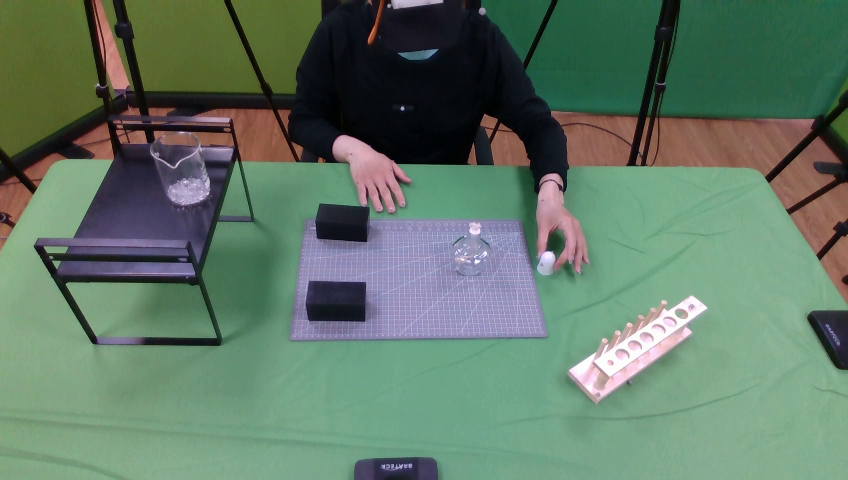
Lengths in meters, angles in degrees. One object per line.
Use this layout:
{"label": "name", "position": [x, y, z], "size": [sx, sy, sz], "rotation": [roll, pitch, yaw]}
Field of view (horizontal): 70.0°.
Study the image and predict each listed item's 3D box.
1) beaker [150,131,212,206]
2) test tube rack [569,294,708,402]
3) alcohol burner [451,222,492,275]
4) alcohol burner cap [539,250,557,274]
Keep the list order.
{"label": "beaker", "position": [-0.385, -0.110, 0.969], "size": [0.074, 0.101, 0.083], "rotation": [-6, 48, -9]}
{"label": "test tube rack", "position": [0.360, 0.167, 1.014], "size": [0.242, 0.085, 0.066], "rotation": [-25, 52, -25]}
{"label": "alcohol burner", "position": [0.091, 0.009, 1.124], "size": [0.078, 0.120, 0.077], "rotation": [2, 48, -2]}
{"label": "alcohol burner cap", "position": [0.238, 0.039, 1.158], "size": [0.034, 0.048, 0.033], "rotation": [1, 45, -1]}
